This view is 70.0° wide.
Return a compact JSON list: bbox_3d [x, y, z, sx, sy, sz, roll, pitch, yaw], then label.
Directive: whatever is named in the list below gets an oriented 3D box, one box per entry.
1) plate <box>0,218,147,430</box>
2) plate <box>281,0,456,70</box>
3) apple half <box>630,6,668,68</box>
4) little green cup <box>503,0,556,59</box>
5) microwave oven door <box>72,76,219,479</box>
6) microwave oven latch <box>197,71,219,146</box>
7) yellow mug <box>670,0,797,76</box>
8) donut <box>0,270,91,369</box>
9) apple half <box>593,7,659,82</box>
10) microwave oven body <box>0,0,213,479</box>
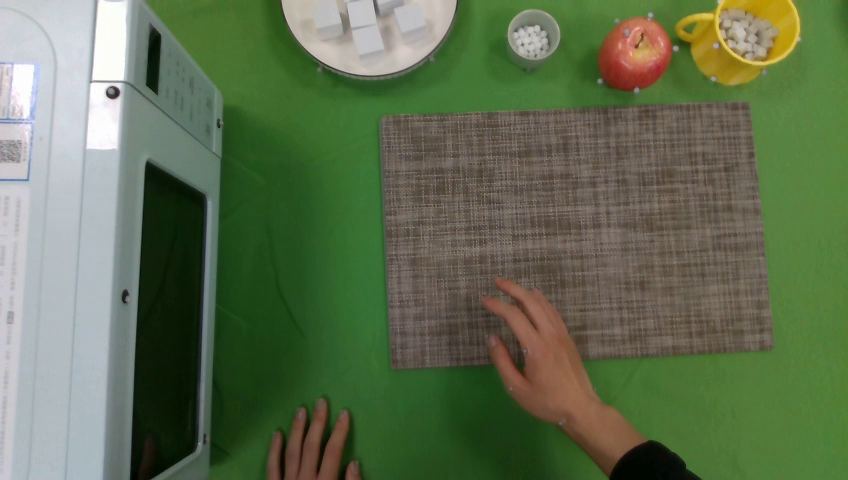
[{"bbox_3d":[-0.383,0.083,0.610,0.209,0.038,0.208,0,86,-3],"label":"plate"},{"bbox_3d":[-0.065,-0.298,0.718,0.208,0.039,0.207,0,85,-2],"label":"plate"},{"bbox_3d":[0.261,-0.238,0.706,0.033,0.081,0.081,-30,86,0],"label":"apple half"},{"bbox_3d":[0.123,-0.247,0.720,0.061,0.038,0.061,0,85,-1],"label":"little green cup"},{"bbox_3d":[-0.246,0.061,0.560,0.039,0.244,0.355,0,85,-2],"label":"microwave oven door"},{"bbox_3d":[-0.247,-0.147,0.679,0.030,0.029,0.079,2,86,-2],"label":"microwave oven latch"},{"bbox_3d":[0.358,-0.256,0.715,0.131,0.064,0.099,8,84,-1],"label":"yellow mug"},{"bbox_3d":[-0.380,0.078,0.597,0.099,0.048,0.099,0,87,-1],"label":"donut"},{"bbox_3d":[0.227,-0.219,0.705,0.053,0.074,0.081,-29,90,0],"label":"apple half"},{"bbox_3d":[-0.392,0.019,0.564,0.326,0.260,0.440,0,86,-2],"label":"microwave oven body"}]
